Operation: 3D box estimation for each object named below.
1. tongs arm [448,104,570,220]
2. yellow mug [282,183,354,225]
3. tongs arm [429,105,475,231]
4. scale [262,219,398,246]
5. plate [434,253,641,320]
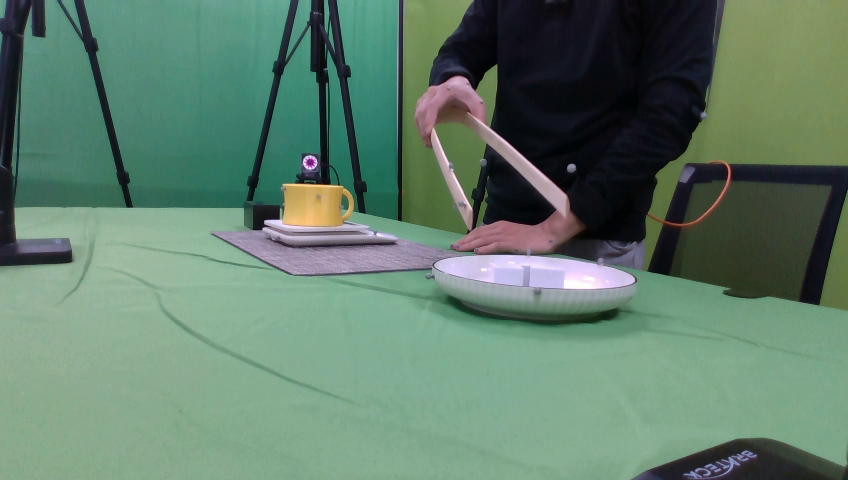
[{"bbox_3d":[0.100,-0.118,0.800,0.028,0.028,0.386,-14,30,-9],"label":"tongs arm"},{"bbox_3d":[-0.172,-0.061,1.009,0.131,0.064,0.099,-2,7,-42],"label":"yellow mug"},{"bbox_3d":[0.043,-0.111,0.792,0.051,0.026,0.383,-8,29,-6],"label":"tongs arm"},{"bbox_3d":[-0.160,-0.016,1.028,0.202,0.031,0.148,-2,9,-31],"label":"scale"},{"bbox_3d":[0.114,0.047,0.625,0.208,0.039,0.207,2,7,0],"label":"plate"}]
